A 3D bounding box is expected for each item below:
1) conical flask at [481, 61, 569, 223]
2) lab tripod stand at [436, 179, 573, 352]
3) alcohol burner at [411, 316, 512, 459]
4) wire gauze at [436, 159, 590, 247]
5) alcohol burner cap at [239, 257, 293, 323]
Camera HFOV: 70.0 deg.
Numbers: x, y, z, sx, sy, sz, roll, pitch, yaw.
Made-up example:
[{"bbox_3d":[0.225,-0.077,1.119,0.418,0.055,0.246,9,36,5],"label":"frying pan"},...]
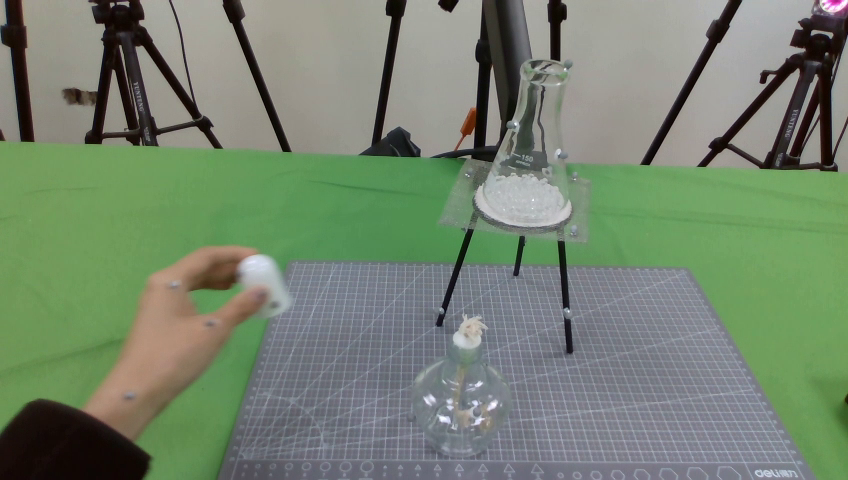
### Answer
[{"bbox_3d":[0.089,-0.081,0.496,0.075,0.123,0.074,2,34,-1],"label":"conical flask"},{"bbox_3d":[0.088,0.022,0.569,0.148,0.132,0.147,3,34,-2],"label":"lab tripod stand"},{"bbox_3d":[0.029,0.107,0.456,0.078,0.120,0.077,1,32,0],"label":"alcohol burner"},{"bbox_3d":[0.084,-0.033,0.533,0.121,0.011,0.124,9,37,11],"label":"wire gauze"},{"bbox_3d":[-0.121,0.035,0.455,0.034,0.048,0.033,-8,31,5],"label":"alcohol burner cap"}]
